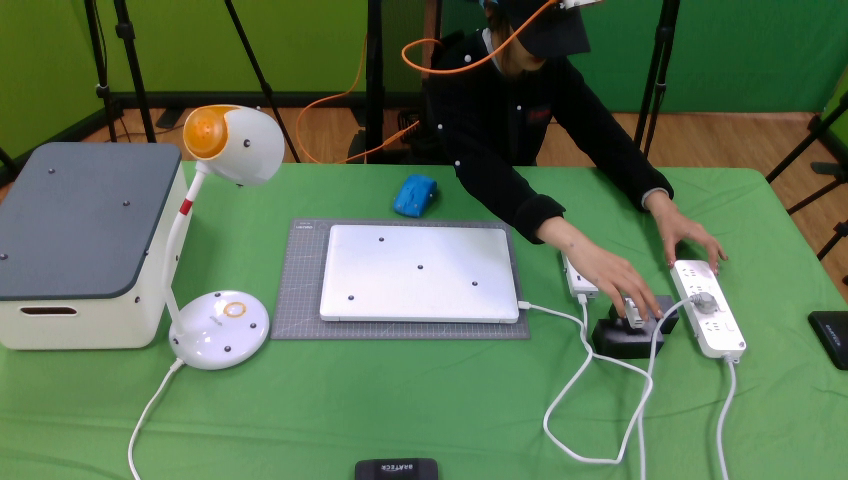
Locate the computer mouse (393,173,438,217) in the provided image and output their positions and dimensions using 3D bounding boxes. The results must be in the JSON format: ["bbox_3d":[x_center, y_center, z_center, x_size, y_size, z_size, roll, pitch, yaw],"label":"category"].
[{"bbox_3d":[-0.017,-0.098,1.282,0.062,0.041,0.117,20,52,13],"label":"computer mouse"}]

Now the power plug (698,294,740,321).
[{"bbox_3d":[0.515,0.127,1.070,0.035,0.053,0.072,-18,56,-6],"label":"power plug"}]

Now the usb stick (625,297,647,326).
[{"bbox_3d":[0.359,0.117,1.034,0.021,0.027,0.059,-2,43,-3],"label":"usb stick"}]

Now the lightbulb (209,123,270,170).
[{"bbox_3d":[-0.260,-0.135,0.847,0.059,0.108,0.059,-4,79,20],"label":"lightbulb"}]

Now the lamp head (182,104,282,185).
[{"bbox_3d":[-0.271,-0.133,0.825,0.112,0.112,0.123,20,8,15],"label":"lamp head"}]

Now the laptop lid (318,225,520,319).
[{"bbox_3d":[-0.009,0.053,1.131,0.357,0.013,0.240,2,44,-2],"label":"laptop lid"}]

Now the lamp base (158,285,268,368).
[{"bbox_3d":[-0.348,0.102,0.963,0.160,0.181,0.178,24,51,18],"label":"lamp base"}]

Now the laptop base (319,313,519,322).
[{"bbox_3d":[-0.009,0.063,1.137,0.354,0.023,0.234,1,42,-3],"label":"laptop base"}]

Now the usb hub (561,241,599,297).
[{"bbox_3d":[0.300,0.055,1.162,0.049,0.025,0.124,3,46,-3],"label":"usb hub"}]

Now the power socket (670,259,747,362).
[{"bbox_3d":[0.516,0.119,1.107,0.072,0.033,0.225,0,46,-2],"label":"power socket"}]

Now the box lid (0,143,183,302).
[{"bbox_3d":[-0.567,-0.045,0.999,0.263,0.015,0.369,-1,46,-4],"label":"box lid"}]

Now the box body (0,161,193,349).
[{"bbox_3d":[-0.570,0.006,1.054,0.254,0.161,0.361,-1,46,-4],"label":"box body"}]
